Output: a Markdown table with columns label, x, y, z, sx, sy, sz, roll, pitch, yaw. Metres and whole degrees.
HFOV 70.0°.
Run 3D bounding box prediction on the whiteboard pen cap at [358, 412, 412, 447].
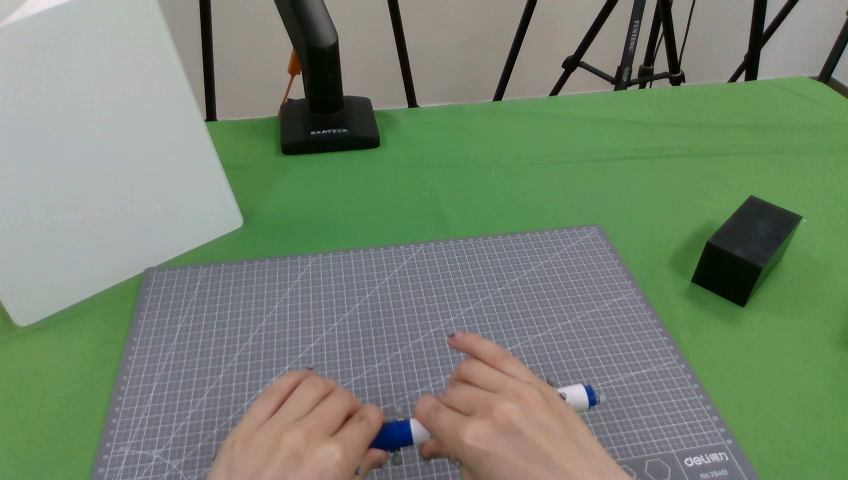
| label | x | y | z | sx | sy | sz | roll | pitch | yaw |
| --- | --- | --- | --- | --- | --- | --- | --- | --- | --- |
| whiteboard pen cap | -0.023 | 0.113 | 0.363 | 0.033 | 0.018 | 0.018 | -6 | 40 | -4 |

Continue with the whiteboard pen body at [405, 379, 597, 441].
| label | x | y | z | sx | sy | sz | roll | pitch | yaw |
| --- | --- | --- | --- | --- | --- | --- | --- | --- | --- |
| whiteboard pen body | 0.035 | 0.105 | 0.367 | 0.141 | 0.017 | 0.017 | -11 | 41 | -4 |

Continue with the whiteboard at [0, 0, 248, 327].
| label | x | y | z | sx | sy | sz | roll | pitch | yaw |
| --- | --- | --- | --- | --- | --- | --- | --- | --- | --- |
| whiteboard | -0.336 | -0.120 | 0.553 | 0.217 | 0.308 | 0.142 | -30 | 30 | -31 |
